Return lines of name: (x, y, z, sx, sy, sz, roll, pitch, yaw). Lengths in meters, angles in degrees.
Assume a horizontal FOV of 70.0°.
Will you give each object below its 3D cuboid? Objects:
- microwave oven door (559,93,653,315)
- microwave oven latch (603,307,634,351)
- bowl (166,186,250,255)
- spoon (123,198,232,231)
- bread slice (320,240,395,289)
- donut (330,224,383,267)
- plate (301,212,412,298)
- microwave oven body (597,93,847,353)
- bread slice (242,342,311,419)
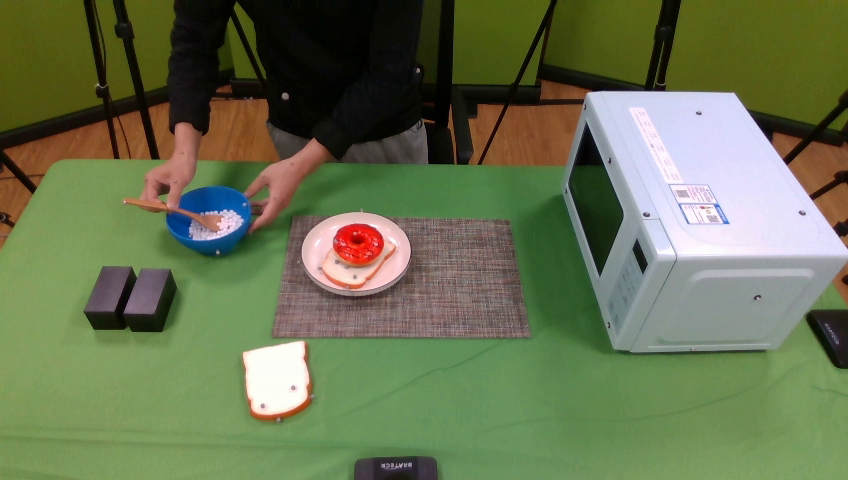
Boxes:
microwave oven door: (0.327, -0.074, 1.123, 0.039, 0.245, 0.353, -1, 46, -5)
microwave oven latch: (0.332, 0.153, 1.044, 0.030, 0.029, 0.078, 0, 45, -4)
bowl: (-0.403, -0.024, 1.154, 0.151, 0.077, 0.150, 2, 46, -2)
spoon: (-0.449, -0.050, 1.114, 0.195, 0.021, 0.041, 19, 39, -38)
bread slice: (-0.129, 0.037, 1.140, 0.107, 0.018, 0.134, 19, 47, 14)
donut: (-0.125, 0.010, 1.127, 0.099, 0.048, 0.098, 3, 45, -3)
plate: (-0.126, 0.031, 1.145, 0.208, 0.039, 0.206, 2, 46, -2)
microwave oven body: (0.475, -0.041, 1.109, 0.326, 0.261, 0.438, -1, 45, -4)
bread slice: (-0.234, 0.223, 0.970, 0.105, 0.019, 0.130, -10, 46, -13)
